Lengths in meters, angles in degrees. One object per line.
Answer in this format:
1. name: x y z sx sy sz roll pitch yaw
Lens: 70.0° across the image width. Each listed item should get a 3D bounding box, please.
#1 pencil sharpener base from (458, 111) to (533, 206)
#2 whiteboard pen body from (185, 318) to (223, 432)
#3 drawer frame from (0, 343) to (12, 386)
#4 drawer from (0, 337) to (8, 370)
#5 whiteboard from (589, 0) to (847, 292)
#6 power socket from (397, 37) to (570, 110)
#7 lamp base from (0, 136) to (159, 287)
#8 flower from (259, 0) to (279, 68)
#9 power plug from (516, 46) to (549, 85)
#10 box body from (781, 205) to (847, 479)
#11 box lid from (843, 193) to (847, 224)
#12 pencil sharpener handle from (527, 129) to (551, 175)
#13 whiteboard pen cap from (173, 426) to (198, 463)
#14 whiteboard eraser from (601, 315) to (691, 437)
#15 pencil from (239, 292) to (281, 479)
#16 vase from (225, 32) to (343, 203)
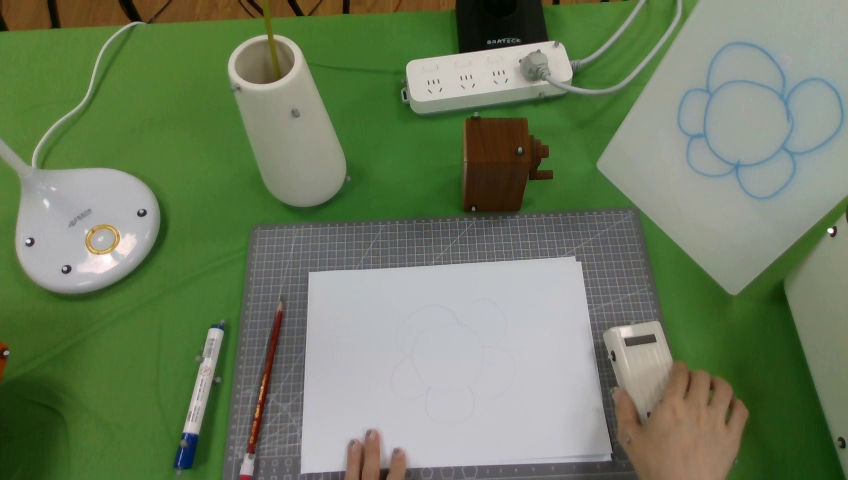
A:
1. pencil sharpener base: 0.077 -0.088 0.675 0.077 0.108 0.061 -1 62 1
2. whiteboard pen body: -0.224 0.145 0.612 0.017 0.017 0.139 1 60 3
3. drawer frame: -0.514 0.172 0.526 0.214 0.083 0.200 0 64 -1
4. drawer: -0.508 0.169 0.524 0.212 0.074 0.193 0 64 1
5. whiteboard: 0.353 -0.134 0.615 0.144 0.307 0.215 -24 63 -31
6. power socket: 0.078 -0.215 0.781 0.227 0.033 0.071 -8 64 -3
7. lamp base: -0.400 -0.060 0.632 0.178 0.182 0.160 27 66 18
8. flower: -0.144 -0.178 0.582 0.038 0.365 0.043 -14 45 -13
9. power plug: 0.132 -0.208 0.750 0.035 0.053 0.072 1 65 3
10. box body: 0.503 0.138 0.519 0.254 0.161 0.361 -3 63 0
11. box lid: 0.502 0.102 0.453 0.263 0.015 0.368 -3 63 -1
12. pencil sharpener handle: 0.128 -0.094 0.664 0.030 0.068 0.035 -1 62 1
13. whiteboard pen cap: -0.228 0.196 0.582 0.018 0.018 0.033 2 57 3
14. whiteboard eraser: 0.215 0.132 0.595 0.056 0.042 0.111 -6 63 -5
15. pencil: -0.164 0.142 0.617 0.012 0.012 0.192 3 62 3
16. vase: -0.148 -0.124 0.648 0.098 0.201 0.097 -1 62 3
